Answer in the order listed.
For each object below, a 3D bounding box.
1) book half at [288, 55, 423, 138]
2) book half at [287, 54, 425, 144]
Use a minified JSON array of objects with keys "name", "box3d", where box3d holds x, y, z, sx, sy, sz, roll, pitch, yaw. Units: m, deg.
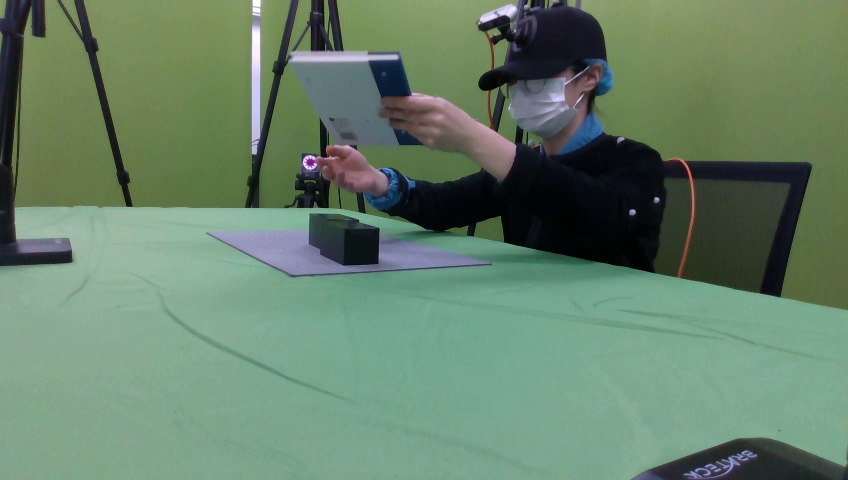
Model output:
[{"name":"book half","box3d":[-0.090,-0.200,0.873,0.143,0.007,0.210,3,-19,12]},{"name":"book half","box3d":[-0.088,-0.194,0.870,0.148,0.016,0.211,1,-19,11]}]
